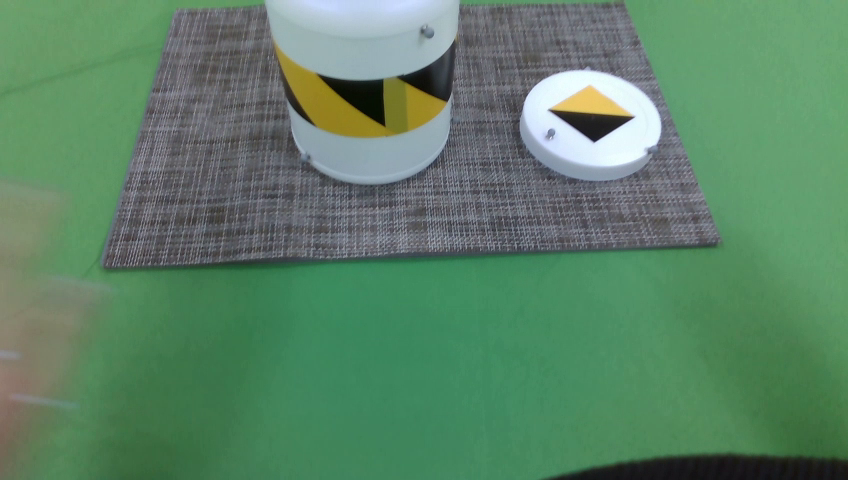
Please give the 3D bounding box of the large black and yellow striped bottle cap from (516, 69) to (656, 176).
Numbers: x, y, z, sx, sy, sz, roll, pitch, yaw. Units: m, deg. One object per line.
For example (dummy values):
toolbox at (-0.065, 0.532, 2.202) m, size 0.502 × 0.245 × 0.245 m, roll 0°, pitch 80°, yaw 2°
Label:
large black and yellow striped bottle cap at (0.136, -0.101, 0.510) m, size 0.115 × 0.019 × 0.114 m, roll 2°, pitch 54°, yaw -2°

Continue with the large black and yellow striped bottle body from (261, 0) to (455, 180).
large black and yellow striped bottle body at (-0.044, -0.148, 0.432) m, size 0.131 × 0.185 × 0.129 m, roll 1°, pitch 55°, yaw -1°
